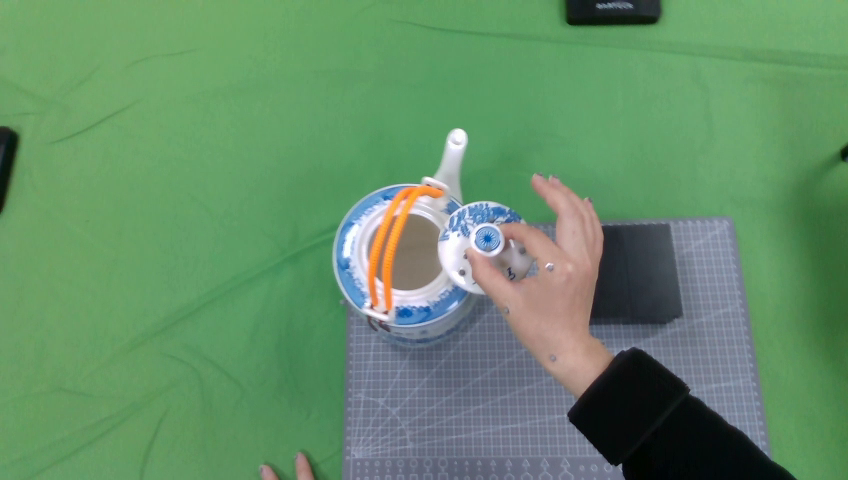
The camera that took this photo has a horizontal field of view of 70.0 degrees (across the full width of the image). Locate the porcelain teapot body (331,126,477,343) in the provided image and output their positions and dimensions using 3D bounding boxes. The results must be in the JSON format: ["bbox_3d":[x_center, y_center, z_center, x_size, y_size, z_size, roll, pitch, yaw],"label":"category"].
[{"bbox_3d":[-0.006,-0.009,0.601,0.145,0.226,0.204,20,75,9],"label":"porcelain teapot body"}]

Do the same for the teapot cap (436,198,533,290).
[{"bbox_3d":[0.052,0.002,0.522,0.085,0.044,0.084,-1,72,4],"label":"teapot cap"}]
